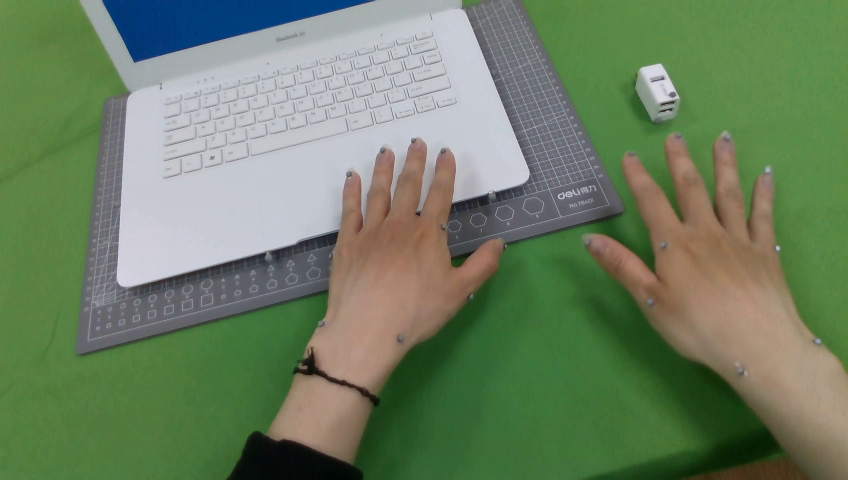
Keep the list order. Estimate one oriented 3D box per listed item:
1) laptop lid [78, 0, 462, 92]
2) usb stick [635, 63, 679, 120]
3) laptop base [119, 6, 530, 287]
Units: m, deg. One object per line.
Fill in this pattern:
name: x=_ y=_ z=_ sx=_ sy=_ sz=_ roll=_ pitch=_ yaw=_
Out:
laptop lid: x=-0.153 y=-0.280 z=0.549 sx=0.357 sy=0.244 sz=0.013 roll=-16 pitch=39 yaw=0
usb stick: x=0.203 y=-0.136 z=0.535 sx=0.021 sy=0.027 sz=0.058 roll=-13 pitch=54 yaw=2
laptop base: x=-0.104 y=-0.096 z=0.562 sx=0.354 sy=0.023 sz=0.233 roll=-15 pitch=60 yaw=-1
